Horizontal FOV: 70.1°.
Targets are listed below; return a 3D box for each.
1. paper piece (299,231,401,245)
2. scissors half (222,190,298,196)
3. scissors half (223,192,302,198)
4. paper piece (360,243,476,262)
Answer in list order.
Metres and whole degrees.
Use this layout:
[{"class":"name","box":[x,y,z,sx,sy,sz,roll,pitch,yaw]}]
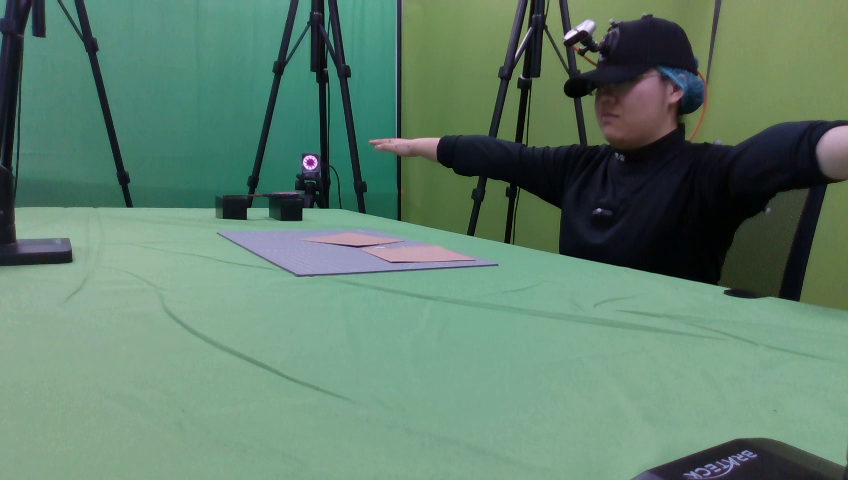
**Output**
[{"class":"paper piece","box":[-0.127,-0.003,1.052,0.135,0.004,0.136,7,8,32]},{"class":"scissors half","box":[-0.372,-0.105,1.380,0.176,0.013,0.040,-6,17,-38]},{"class":"scissors half","box":[-0.362,-0.100,1.364,0.176,0.013,0.040,-2,10,-23]},{"class":"paper piece","box":[-0.012,0.020,0.914,0.136,0.008,0.137,-4,10,-24]}]
